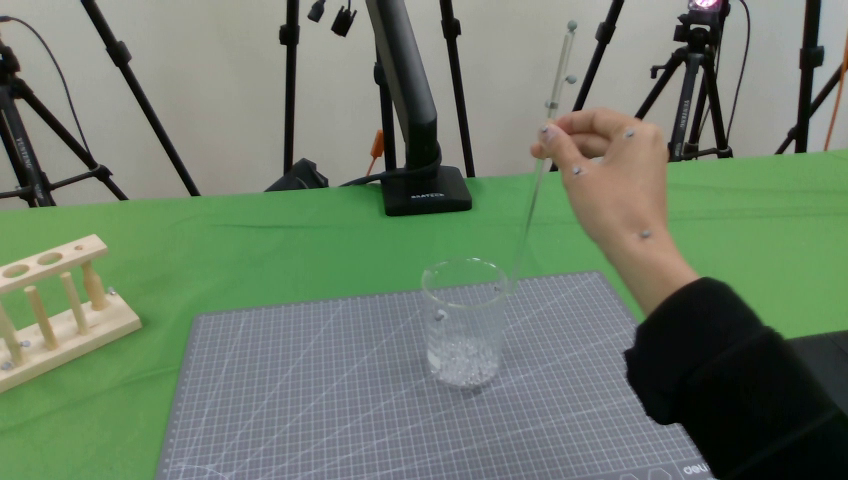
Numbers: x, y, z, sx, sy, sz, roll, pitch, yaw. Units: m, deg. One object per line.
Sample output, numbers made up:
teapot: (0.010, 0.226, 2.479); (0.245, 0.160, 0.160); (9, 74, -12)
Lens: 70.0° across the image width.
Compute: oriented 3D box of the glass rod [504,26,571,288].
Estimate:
glass rod: (0.082, -0.052, 0.444); (0.008, 0.201, 0.008); (8, 24, -3)

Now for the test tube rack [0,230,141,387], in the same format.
test tube rack: (-0.400, 0.082, 0.548); (0.242, 0.086, 0.066); (-28, 42, -35)

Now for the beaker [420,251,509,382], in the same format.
beaker: (0.032, 0.070, 0.544); (0.083, 0.101, 0.074); (25, 41, 35)

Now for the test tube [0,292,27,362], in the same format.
test tube: (-0.375, 0.045, 0.521); (0.017, 0.151, 0.017); (1, 32, 0)
